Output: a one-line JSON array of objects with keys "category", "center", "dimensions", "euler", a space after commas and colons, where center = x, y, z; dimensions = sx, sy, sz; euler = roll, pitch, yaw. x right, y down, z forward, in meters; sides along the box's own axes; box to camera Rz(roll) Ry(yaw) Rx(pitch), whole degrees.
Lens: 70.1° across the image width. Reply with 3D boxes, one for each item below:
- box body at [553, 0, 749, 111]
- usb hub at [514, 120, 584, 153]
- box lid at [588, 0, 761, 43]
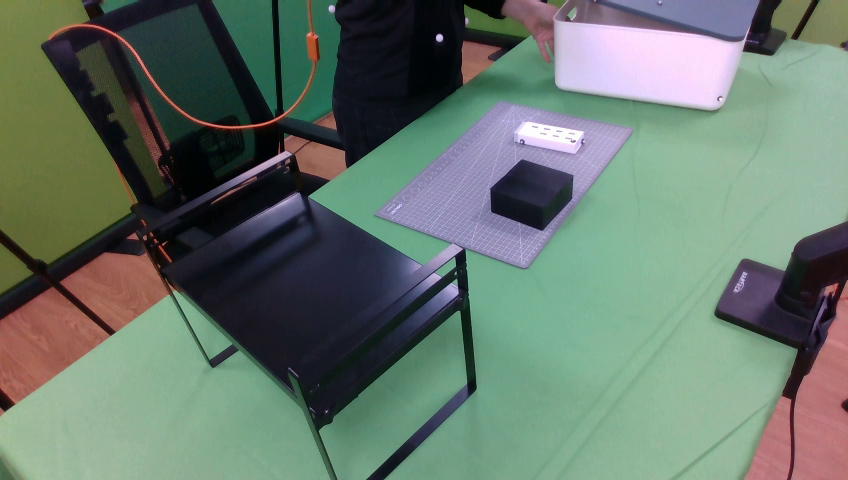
[{"category": "box body", "center": [0.480, -0.418, 1.282], "dimensions": [0.362, 0.161, 0.254], "euler": [16, 46, 25]}, {"category": "usb hub", "center": [0.241, -0.200, 1.165], "dimensions": [0.124, 0.025, 0.049], "euler": [17, 46, 26]}, {"category": "box lid", "center": [0.472, -0.500, 1.212], "dimensions": [0.370, 0.015, 0.263], "euler": [25, 49, 17]}]
